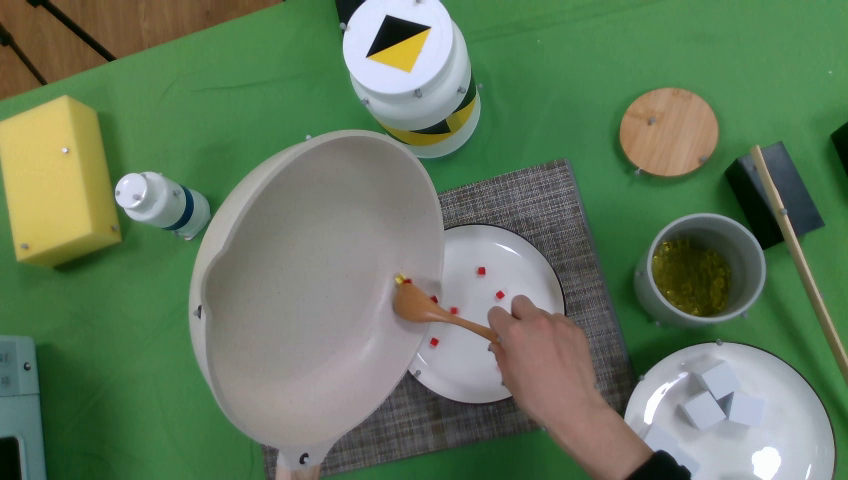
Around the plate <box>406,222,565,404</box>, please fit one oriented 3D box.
[{"bbox_3d":[0.059,0.083,0.707,0.209,0.038,0.208,-2,80,11],"label":"plate"}]

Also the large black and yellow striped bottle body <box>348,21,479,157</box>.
[{"bbox_3d":[-0.010,-0.184,0.695,0.130,0.185,0.130,-2,79,11],"label":"large black and yellow striped bottle body"}]

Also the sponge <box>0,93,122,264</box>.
[{"bbox_3d":[-0.507,-0.083,0.837,0.118,0.061,0.206,-20,78,7],"label":"sponge"}]

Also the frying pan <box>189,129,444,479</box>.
[{"bbox_3d":[-0.106,0.143,0.559,0.102,0.309,0.487,5,85,36],"label":"frying pan"}]

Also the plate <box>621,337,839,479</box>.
[{"bbox_3d":[0.315,0.207,0.640,0.207,0.039,0.207,-2,80,11],"label":"plate"}]

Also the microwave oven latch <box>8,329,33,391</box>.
[{"bbox_3d":[-0.535,0.157,0.794,0.030,0.029,0.079,-11,79,9],"label":"microwave oven latch"}]

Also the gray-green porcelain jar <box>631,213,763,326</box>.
[{"bbox_3d":[0.276,0.036,0.631,0.105,0.127,0.105,-2,80,11],"label":"gray-green porcelain jar"}]

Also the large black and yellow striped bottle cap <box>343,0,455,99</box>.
[{"bbox_3d":[-0.026,-0.200,0.613,0.115,0.019,0.114,-2,82,11],"label":"large black and yellow striped bottle cap"}]

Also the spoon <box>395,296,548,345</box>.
[{"bbox_3d":[0.043,0.078,0.623,0.192,0.022,0.041,10,43,44],"label":"spoon"}]

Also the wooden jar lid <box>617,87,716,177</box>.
[{"bbox_3d":[0.283,-0.125,0.712,0.108,0.021,0.108,-2,82,11],"label":"wooden jar lid"}]

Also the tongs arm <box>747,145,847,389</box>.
[{"bbox_3d":[0.422,0.076,0.612,0.051,0.026,0.384,-20,87,6],"label":"tongs arm"}]

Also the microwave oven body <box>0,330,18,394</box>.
[{"bbox_3d":[-0.658,0.346,0.686,0.326,0.261,0.439,-15,78,8],"label":"microwave oven body"}]

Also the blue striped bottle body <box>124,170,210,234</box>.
[{"bbox_3d":[-0.330,-0.049,0.766,0.063,0.121,0.063,-2,80,11],"label":"blue striped bottle body"}]

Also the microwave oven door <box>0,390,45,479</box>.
[{"bbox_3d":[-0.510,0.349,0.651,0.039,0.245,0.354,-15,77,9],"label":"microwave oven door"}]

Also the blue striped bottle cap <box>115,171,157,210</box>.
[{"bbox_3d":[-0.341,-0.059,0.717,0.044,0.021,0.044,-2,81,11],"label":"blue striped bottle cap"}]
